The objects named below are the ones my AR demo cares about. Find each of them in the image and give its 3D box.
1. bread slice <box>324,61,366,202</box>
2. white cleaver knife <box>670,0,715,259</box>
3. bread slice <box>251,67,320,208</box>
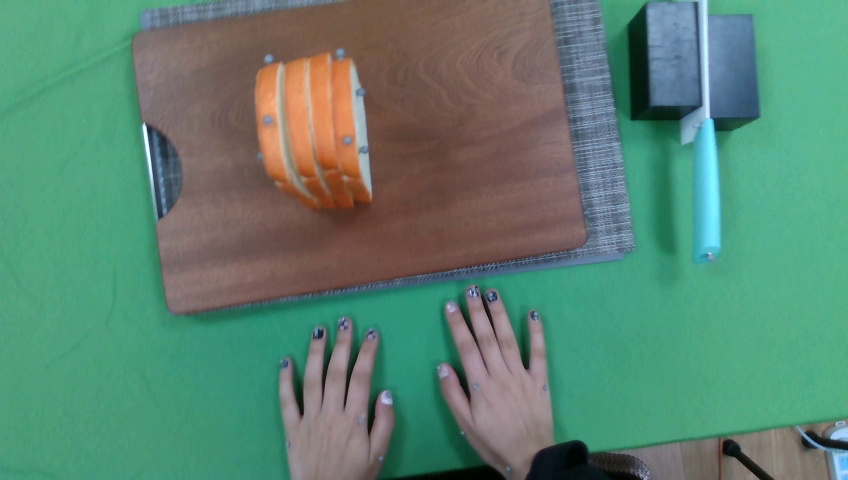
[{"bbox_3d":[-0.066,-0.088,0.511,0.018,0.134,0.107,-7,90,-3],"label":"bread slice"},{"bbox_3d":[0.259,-0.124,0.586,0.021,0.066,0.286,-1,88,4],"label":"white cleaver knife"},{"bbox_3d":[-0.115,-0.086,0.511,0.019,0.132,0.104,-7,85,3],"label":"bread slice"}]
